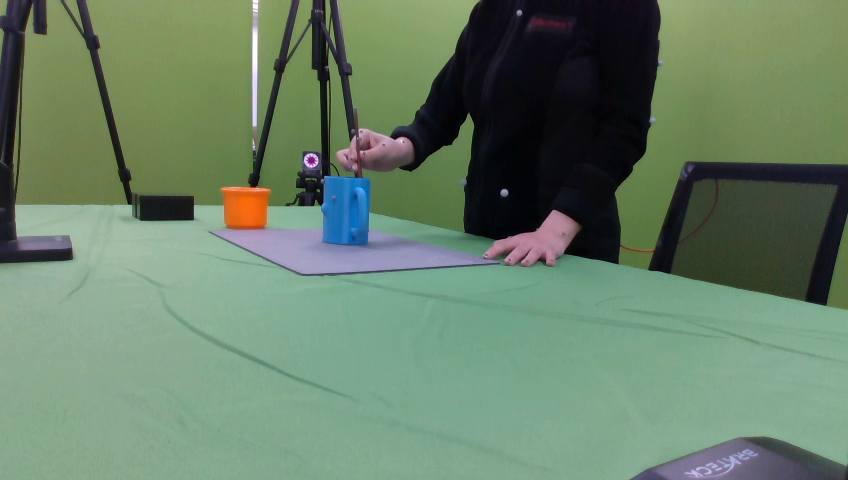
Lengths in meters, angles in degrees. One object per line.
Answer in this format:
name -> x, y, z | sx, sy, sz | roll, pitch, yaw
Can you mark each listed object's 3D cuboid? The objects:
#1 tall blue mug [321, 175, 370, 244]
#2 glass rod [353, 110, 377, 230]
tall blue mug -> -0.116, -0.049, 0.990 | 0.106, 0.108, 0.078 | 7, 8, 33
glass rod -> -0.097, -0.114, 0.983 | 0.008, 0.199, 0.008 | -10, -2, 0
